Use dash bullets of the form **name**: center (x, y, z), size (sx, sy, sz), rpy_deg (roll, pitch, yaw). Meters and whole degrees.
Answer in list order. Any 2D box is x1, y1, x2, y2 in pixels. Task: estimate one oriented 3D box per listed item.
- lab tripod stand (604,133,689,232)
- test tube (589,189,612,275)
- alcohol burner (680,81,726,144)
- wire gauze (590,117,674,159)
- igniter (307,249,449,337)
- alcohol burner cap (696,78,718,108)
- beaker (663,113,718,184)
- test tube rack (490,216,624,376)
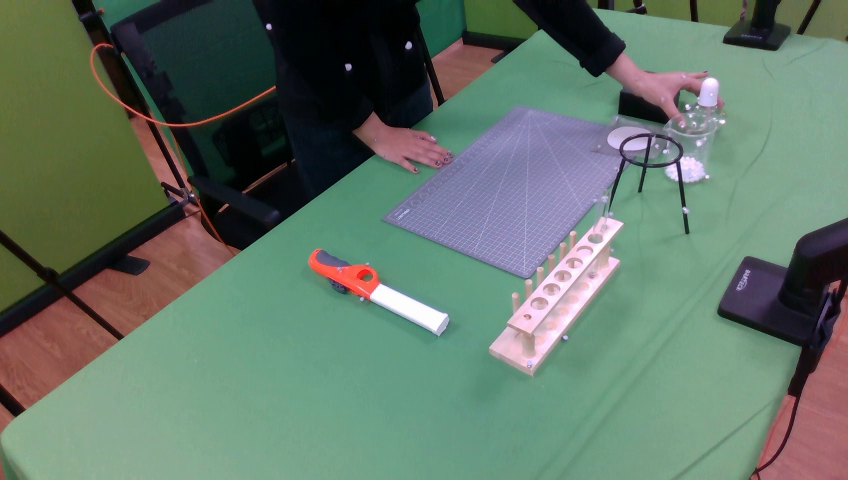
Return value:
- **lab tripod stand**: center (0.347, -0.086, 0.932), size (0.148, 0.132, 0.147), rpy_deg (-4, 40, 4)
- **test tube**: center (0.238, -0.007, 0.818), size (0.017, 0.151, 0.017), rpy_deg (-3, 43, 4)
- **alcohol burner**: center (0.502, -0.233, 1.082), size (0.078, 0.119, 0.077), rpy_deg (-4, 45, 4)
- **wire gauze**: center (0.393, -0.192, 1.139), size (0.120, 0.011, 0.125), rpy_deg (19, 46, 28)
- **igniter**: center (-0.079, 0.073, 0.905), size (0.274, 0.025, 0.057), rpy_deg (23, 61, 32)
- **alcohol burner cap**: center (0.497, -0.258, 1.057), size (0.034, 0.048, 0.033), rpy_deg (-6, 37, 5)
- **beaker**: center (0.442, -0.151, 1.018), size (0.084, 0.101, 0.074), rpy_deg (-1, 40, 11)
- **test tube rack**: center (0.184, 0.064, 0.822), size (0.066, 0.085, 0.243), rpy_deg (24, 50, 33)
